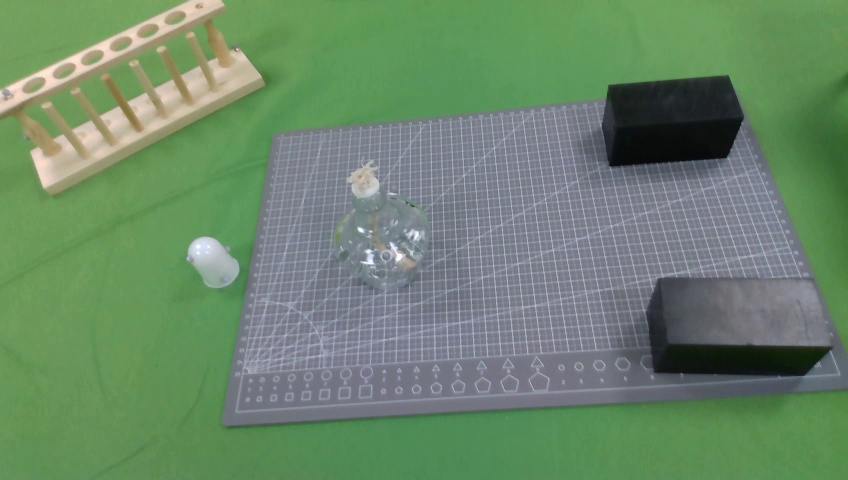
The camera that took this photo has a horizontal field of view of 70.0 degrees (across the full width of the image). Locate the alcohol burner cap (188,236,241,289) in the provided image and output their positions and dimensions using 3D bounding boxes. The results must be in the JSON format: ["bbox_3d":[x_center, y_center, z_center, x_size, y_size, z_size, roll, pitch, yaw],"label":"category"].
[{"bbox_3d":[-0.180,0.017,0.514,0.034,0.048,0.033,-5,56,7],"label":"alcohol burner cap"}]

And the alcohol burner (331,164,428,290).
[{"bbox_3d":[-0.037,-0.013,0.465,0.078,0.120,0.077,-4,54,6],"label":"alcohol burner"}]

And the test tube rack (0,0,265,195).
[{"bbox_3d":[-0.296,-0.151,0.615,0.242,0.086,0.066,-32,58,-13],"label":"test tube rack"}]
